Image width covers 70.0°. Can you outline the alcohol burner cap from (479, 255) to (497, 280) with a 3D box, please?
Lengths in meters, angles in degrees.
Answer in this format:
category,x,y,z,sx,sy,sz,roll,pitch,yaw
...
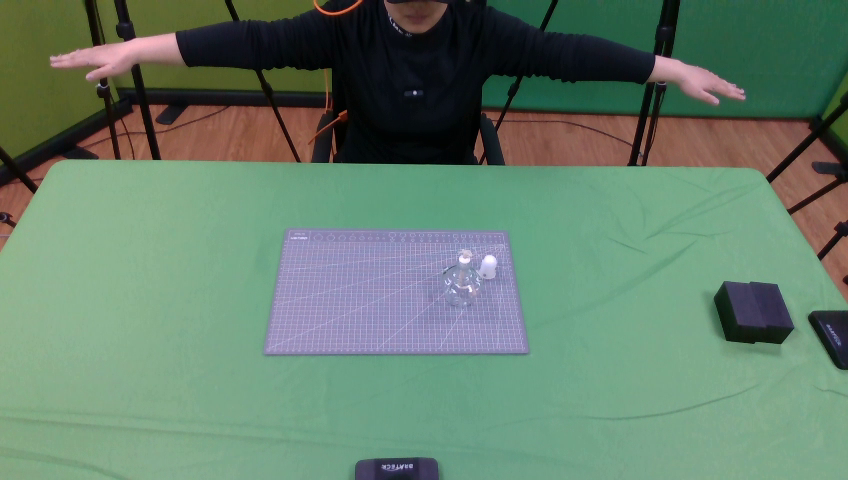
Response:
category,x,y,z,sx,sy,sz,roll,pitch,yaw
alcohol burner cap,0.122,0.050,1.143,0.034,0.048,0.033,2,45,-2

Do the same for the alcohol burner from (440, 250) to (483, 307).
category,x,y,z,sx,sy,sz,roll,pitch,yaw
alcohol burner,0.068,0.063,1.076,0.078,0.120,0.077,1,45,-1
